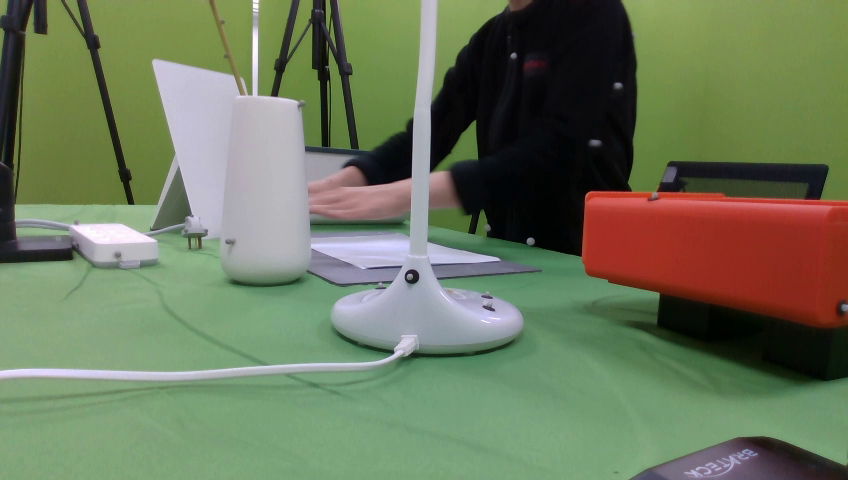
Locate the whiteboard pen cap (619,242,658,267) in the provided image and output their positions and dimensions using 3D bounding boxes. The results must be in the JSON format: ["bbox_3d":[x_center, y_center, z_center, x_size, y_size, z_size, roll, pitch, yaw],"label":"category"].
[{"bbox_3d":[0.198,0.014,0.557,0.018,0.018,0.033,-4,16,-38],"label":"whiteboard pen cap"}]

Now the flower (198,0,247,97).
[{"bbox_3d":[-0.187,-0.133,0.648,0.038,0.362,0.044,-1,22,43],"label":"flower"}]

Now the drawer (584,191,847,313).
[{"bbox_3d":[0.280,0.001,0.513,0.195,0.073,0.210,-1,8,-28],"label":"drawer"}]

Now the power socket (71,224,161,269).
[{"bbox_3d":[-0.408,0.004,0.793,0.072,0.032,0.225,-2,8,-38],"label":"power socket"}]

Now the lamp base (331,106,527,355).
[{"bbox_3d":[0.006,-0.012,0.478,0.161,0.180,0.179,2,10,2],"label":"lamp base"}]

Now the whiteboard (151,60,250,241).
[{"bbox_3d":[-0.408,-0.139,1.093,0.143,0.305,0.218,-15,0,25],"label":"whiteboard"}]

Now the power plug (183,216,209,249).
[{"bbox_3d":[-0.334,-0.007,0.892,0.035,0.052,0.072,-4,-11,-16],"label":"power plug"}]

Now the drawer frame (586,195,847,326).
[{"bbox_3d":[0.284,0.004,0.508,0.203,0.082,0.212,-1,6,-28],"label":"drawer frame"}]

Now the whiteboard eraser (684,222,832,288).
[{"bbox_3d":[0.304,0.013,0.558,0.056,0.042,0.112,-10,20,-30],"label":"whiteboard eraser"}]

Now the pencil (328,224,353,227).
[{"bbox_3d":[-0.248,-0.044,1.340,0.195,0.012,0.012,9,4,-29],"label":"pencil"}]

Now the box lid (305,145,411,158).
[{"bbox_3d":[-0.232,-0.200,1.363,0.373,0.015,0.262,0,7,-29],"label":"box lid"}]

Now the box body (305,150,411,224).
[{"bbox_3d":[-0.233,-0.127,1.374,0.366,0.160,0.253,-2,8,-29],"label":"box body"}]

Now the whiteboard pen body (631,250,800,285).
[{"bbox_3d":[0.239,0.021,0.512,0.017,0.017,0.140,-4,8,-41],"label":"whiteboard pen body"}]

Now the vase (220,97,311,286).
[{"bbox_3d":[-0.172,-0.052,0.662,0.098,0.200,0.098,3,8,0],"label":"vase"}]
